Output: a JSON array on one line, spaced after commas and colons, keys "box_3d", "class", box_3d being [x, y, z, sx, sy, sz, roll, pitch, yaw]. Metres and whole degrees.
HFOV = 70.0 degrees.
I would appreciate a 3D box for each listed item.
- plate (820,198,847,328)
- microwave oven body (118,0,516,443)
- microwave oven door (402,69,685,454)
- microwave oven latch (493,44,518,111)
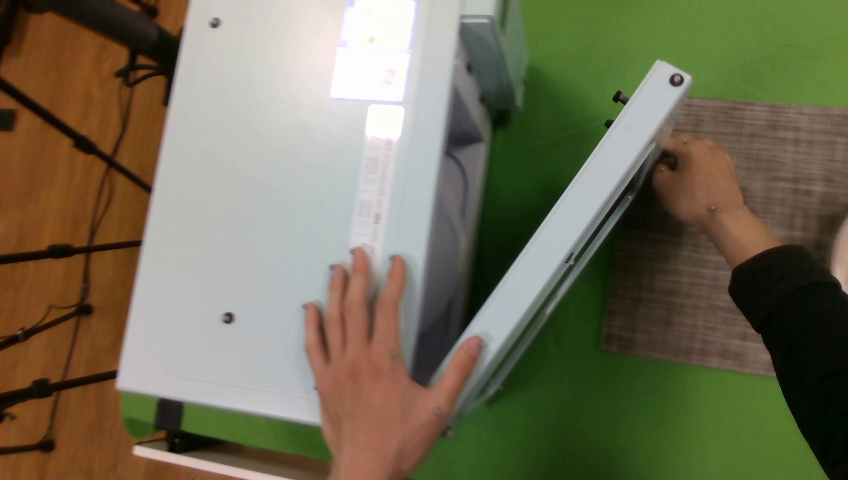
[{"box_3d": [0.507, 0.028, 0.603, 0.207, 0.039, 0.207, -2, 82, 14], "class": "plate"}, {"box_3d": [-0.093, -0.048, 0.650, 0.325, 0.261, 0.440, 5, 84, 14], "class": "microwave oven body"}, {"box_3d": [0.118, 0.033, 0.581, 0.039, 0.245, 0.356, 35, 92, 17], "class": "microwave oven door"}, {"box_3d": [0.095, -0.196, 0.723, 0.030, 0.029, 0.079, 6, 85, 15], "class": "microwave oven latch"}]
